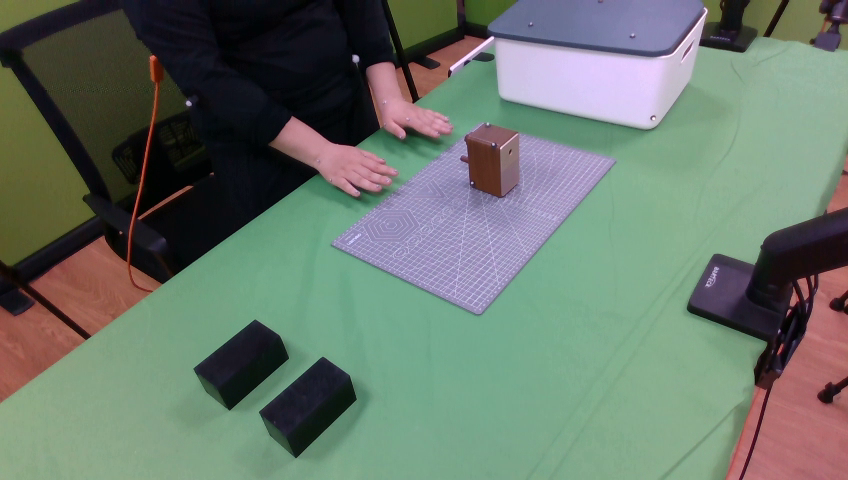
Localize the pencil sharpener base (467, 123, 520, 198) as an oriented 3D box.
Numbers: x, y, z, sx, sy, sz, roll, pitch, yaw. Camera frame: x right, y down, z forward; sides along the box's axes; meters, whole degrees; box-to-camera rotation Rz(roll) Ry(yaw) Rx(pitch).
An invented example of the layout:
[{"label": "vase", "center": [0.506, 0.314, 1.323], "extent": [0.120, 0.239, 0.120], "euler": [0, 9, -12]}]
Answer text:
[{"label": "pencil sharpener base", "center": [0.119, -0.138, 1.044], "extent": [0.076, 0.107, 0.061], "euler": [23, 50, 32]}]

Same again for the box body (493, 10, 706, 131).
[{"label": "box body", "center": [0.354, -0.377, 1.254], "extent": [0.361, 0.161, 0.254], "euler": [20, 48, 28]}]

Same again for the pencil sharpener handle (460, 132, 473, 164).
[{"label": "pencil sharpener handle", "center": [0.077, -0.163, 1.062], "extent": [0.030, 0.068, 0.036], "euler": [23, 44, 32]}]

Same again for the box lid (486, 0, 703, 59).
[{"label": "box lid", "center": [0.338, -0.437, 1.204], "extent": [0.369, 0.015, 0.264], "euler": [18, 47, 29]}]
